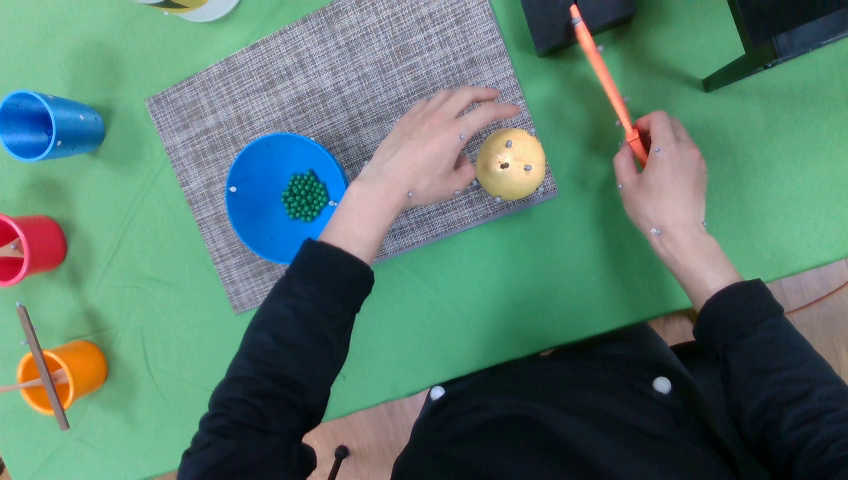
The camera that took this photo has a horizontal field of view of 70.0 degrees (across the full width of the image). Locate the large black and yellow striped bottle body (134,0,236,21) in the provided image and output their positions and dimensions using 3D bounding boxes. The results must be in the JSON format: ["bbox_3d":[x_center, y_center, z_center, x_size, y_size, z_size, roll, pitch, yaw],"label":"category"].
[{"bbox_3d":[-0.294,-0.323,0.656,0.130,0.184,0.131,2,99,13],"label":"large black and yellow striped bottle body"}]

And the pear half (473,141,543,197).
[{"bbox_3d":[0.085,-0.072,0.645,0.076,0.110,0.056,16,102,15],"label":"pear half"}]

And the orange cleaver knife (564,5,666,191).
[{"bbox_3d":[0.197,-0.143,0.621,0.012,0.076,0.213,-24,118,32],"label":"orange cleaver knife"}]

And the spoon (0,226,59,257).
[{"bbox_3d":[-0.594,0.021,0.805,0.194,0.021,0.042,-18,98,-28],"label":"spoon"}]

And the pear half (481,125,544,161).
[{"bbox_3d":[0.096,-0.107,0.646,0.070,0.088,0.031,15,102,14],"label":"pear half"}]

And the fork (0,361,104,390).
[{"bbox_3d":[-0.550,0.193,0.819,0.208,0.018,0.028,-7,111,-30],"label":"fork"}]

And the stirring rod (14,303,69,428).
[{"bbox_3d":[-0.506,0.168,0.803,0.014,0.006,0.176,-16,96,12],"label":"stirring rod"}]

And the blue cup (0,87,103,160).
[{"bbox_3d":[-0.469,-0.146,0.768,0.092,0.100,0.093,2,100,11],"label":"blue cup"}]

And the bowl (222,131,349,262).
[{"bbox_3d":[-0.151,-0.053,0.719,0.151,0.077,0.152,2,100,13],"label":"bowl"}]
